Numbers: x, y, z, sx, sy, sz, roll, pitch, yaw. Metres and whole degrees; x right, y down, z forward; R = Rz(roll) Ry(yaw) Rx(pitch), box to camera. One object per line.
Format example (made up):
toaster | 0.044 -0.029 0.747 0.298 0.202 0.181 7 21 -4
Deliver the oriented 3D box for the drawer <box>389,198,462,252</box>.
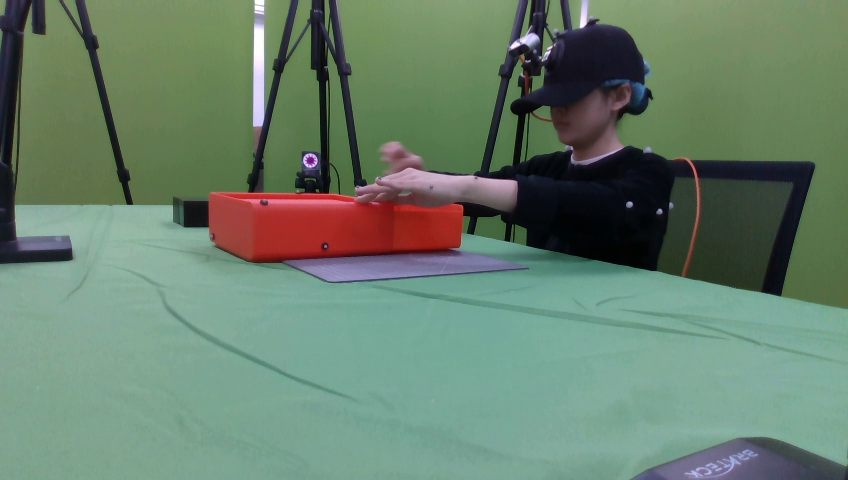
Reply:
drawer | -0.078 -0.028 0.974 0.213 0.073 0.193 -2 10 -34

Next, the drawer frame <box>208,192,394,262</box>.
drawer frame | -0.185 -0.026 0.900 0.215 0.082 0.200 -3 10 -35

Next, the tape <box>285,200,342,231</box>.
tape | -0.223 -0.051 1.221 0.117 0.052 0.117 3 7 0
